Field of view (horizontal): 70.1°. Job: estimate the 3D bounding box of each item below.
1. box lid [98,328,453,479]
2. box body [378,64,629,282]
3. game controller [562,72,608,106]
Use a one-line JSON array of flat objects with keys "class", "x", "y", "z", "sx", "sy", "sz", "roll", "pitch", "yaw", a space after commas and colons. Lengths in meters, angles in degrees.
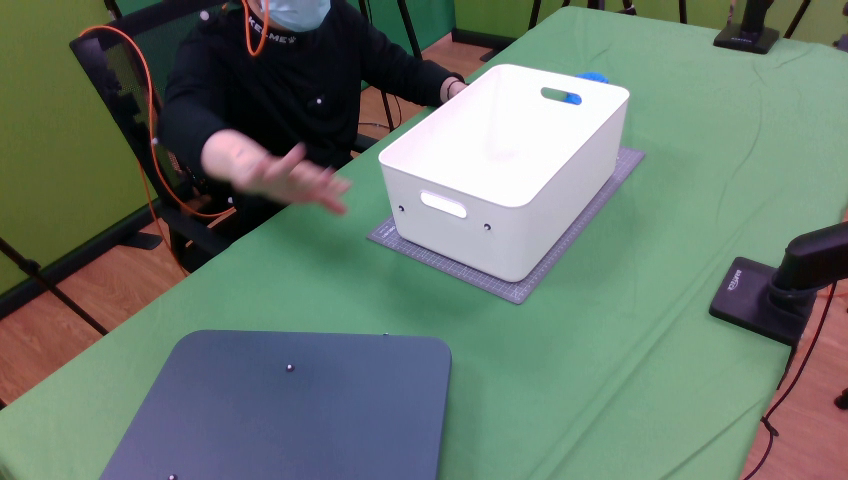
[{"class": "box lid", "x": -0.157, "y": 0.209, "z": 0.690, "sx": 0.371, "sy": 0.015, "sz": 0.262, "roll": 1, "pitch": 41, "yaw": 9}, {"class": "box body", "x": 0.137, "y": -0.121, "z": 0.978, "sx": 0.252, "sy": 0.161, "sz": 0.365, "roll": 22, "pitch": 48, "yaw": 30}, {"class": "game controller", "x": 0.326, "y": -0.306, "z": 1.260, "sx": 0.096, "sy": 0.052, "sz": 0.155, "roll": 14, "pitch": 45, "yaw": 17}]
